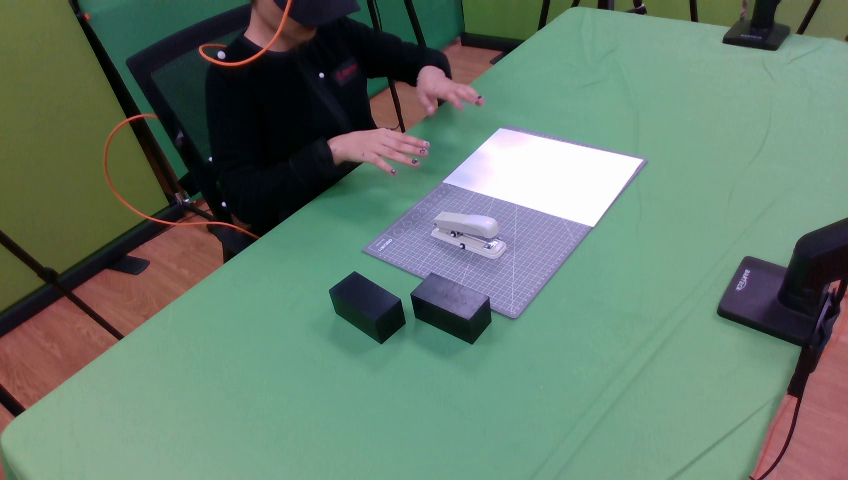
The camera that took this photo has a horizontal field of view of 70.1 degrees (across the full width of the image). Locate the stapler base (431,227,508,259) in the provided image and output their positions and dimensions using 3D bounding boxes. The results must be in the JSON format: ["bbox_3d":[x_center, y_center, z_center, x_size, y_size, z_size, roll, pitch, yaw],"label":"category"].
[{"bbox_3d":[0.072,-0.007,0.972,0.129,0.024,0.041,20,45,32],"label":"stapler base"}]

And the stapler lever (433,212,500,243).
[{"bbox_3d":[0.067,-0.026,0.957,0.117,0.040,0.027,20,46,32],"label":"stapler lever"}]
